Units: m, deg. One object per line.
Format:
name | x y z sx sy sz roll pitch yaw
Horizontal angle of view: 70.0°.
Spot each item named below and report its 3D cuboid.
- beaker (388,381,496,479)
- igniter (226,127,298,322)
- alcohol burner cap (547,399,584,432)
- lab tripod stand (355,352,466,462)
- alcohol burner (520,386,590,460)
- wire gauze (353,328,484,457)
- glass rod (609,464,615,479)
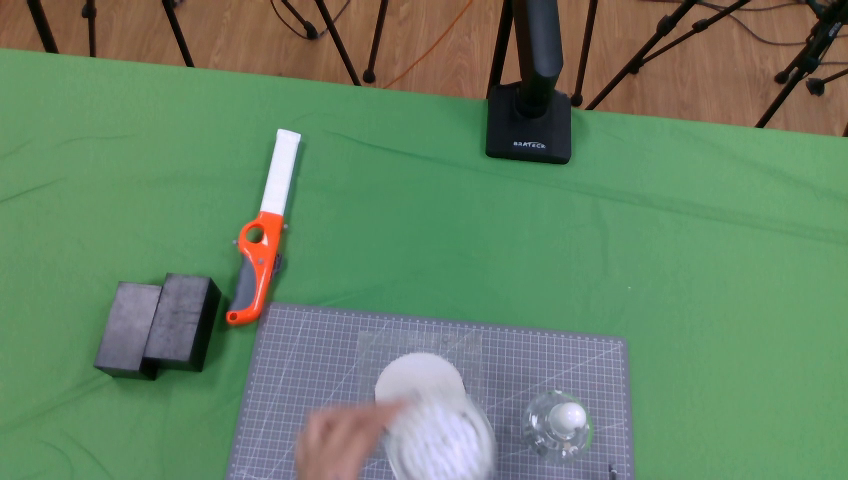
beaker | 0.013 0.155 0.459 0.074 0.101 0.083 6 70 2
igniter | -0.203 -0.025 0.777 0.057 0.025 0.274 13 64 -14
alcohol burner cap | 0.147 0.177 0.616 0.034 0.048 0.033 1 70 -4
lab tripod stand | -0.008 0.174 0.637 0.148 0.132 0.147 1 64 -1
alcohol burner | 0.144 0.193 0.649 0.078 0.120 0.077 1 63 -2
wire gauze | -0.006 0.143 0.577 0.125 0.011 0.120 2 64 -3
glass rod | 0.204 0.342 0.642 0.008 0.008 0.198 5 65 -1
